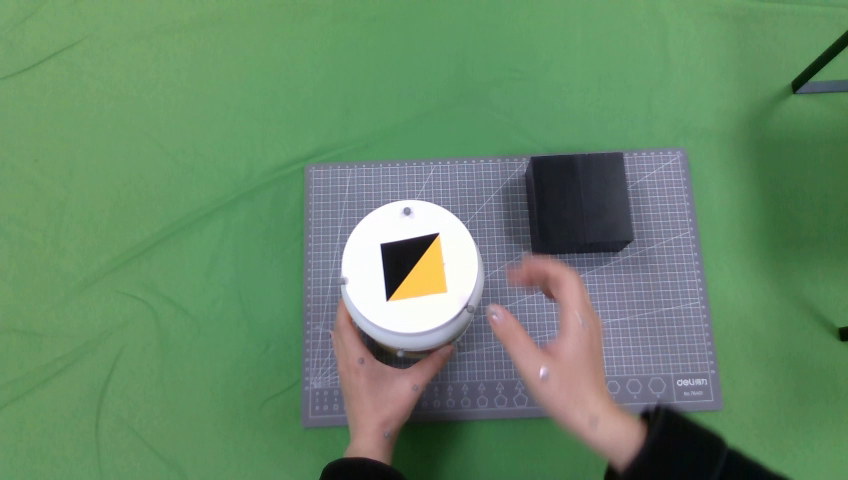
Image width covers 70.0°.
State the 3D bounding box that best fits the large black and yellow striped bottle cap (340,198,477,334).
[{"bbox_3d":[-0.013,0.021,0.507,0.115,0.019,0.114,0,78,0],"label":"large black and yellow striped bottle cap"}]

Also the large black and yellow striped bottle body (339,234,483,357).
[{"bbox_3d":[-0.011,0.043,0.589,0.131,0.185,0.130,0,76,1],"label":"large black and yellow striped bottle body"}]
